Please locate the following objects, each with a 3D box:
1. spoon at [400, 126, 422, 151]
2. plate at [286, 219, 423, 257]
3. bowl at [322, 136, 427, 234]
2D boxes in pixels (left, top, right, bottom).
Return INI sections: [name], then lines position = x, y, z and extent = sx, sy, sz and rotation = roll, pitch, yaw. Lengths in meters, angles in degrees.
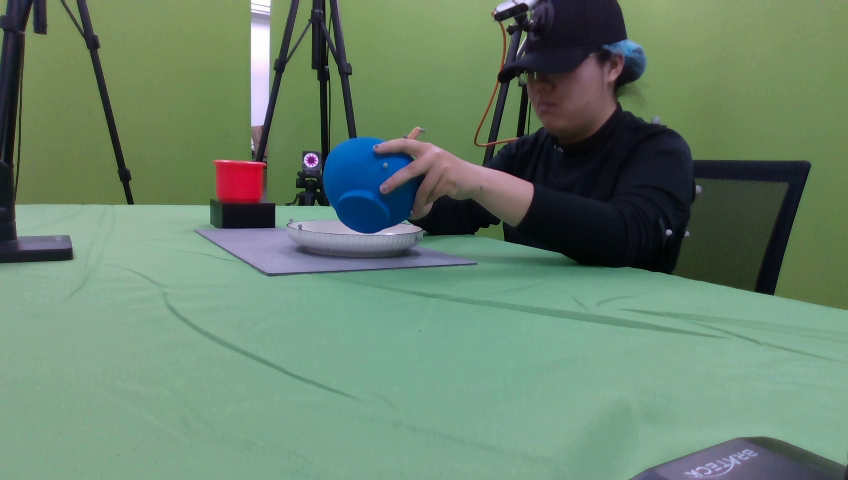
[spoon]
position = -0.054, -0.112, 0.895
extent = 0.041, 0.022, 0.194
rotation = 9, 44, 31
[plate]
position = -0.105, -0.003, 0.922
extent = 0.208, 0.039, 0.207
rotation = 3, 7, 0
[bowl]
position = -0.077, -0.061, 0.842
extent = 0.151, 0.151, 0.077
rotation = 3, 48, 11
